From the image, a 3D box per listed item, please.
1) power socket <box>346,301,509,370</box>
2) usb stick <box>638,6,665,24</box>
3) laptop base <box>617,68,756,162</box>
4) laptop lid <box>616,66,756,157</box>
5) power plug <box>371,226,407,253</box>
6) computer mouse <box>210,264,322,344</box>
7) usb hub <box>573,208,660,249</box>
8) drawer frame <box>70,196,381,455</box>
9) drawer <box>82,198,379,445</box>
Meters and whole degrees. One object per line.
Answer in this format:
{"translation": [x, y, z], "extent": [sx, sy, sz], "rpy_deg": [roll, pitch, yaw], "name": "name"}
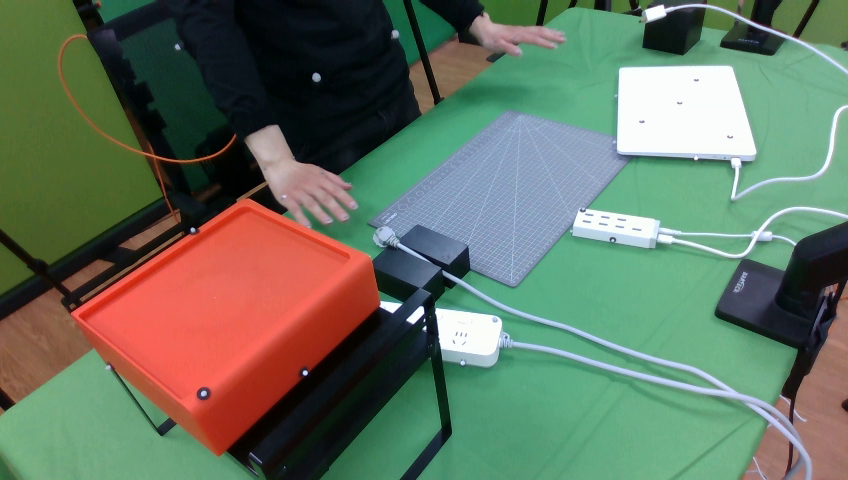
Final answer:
{"translation": [-0.001, 0.126, 0.817], "extent": [0.226, 0.033, 0.072], "rpy_deg": [7, 43, 15], "name": "power socket"}
{"translation": [0.503, -0.499, 1.347], "extent": [0.059, 0.027, 0.021], "rpy_deg": [-21, 5, -1], "name": "usb stick"}
{"translation": [0.507, -0.256, 1.204], "extent": [0.235, 0.023, 0.353], "rpy_deg": [3, 41, 15], "name": "laptop base"}
{"translation": [0.503, -0.265, 1.196], "extent": [0.241, 0.013, 0.356], "rpy_deg": [5, 41, 16], "name": "laptop lid"}
{"translation": [-0.054, 0.009, 0.930], "extent": [0.035, 0.053, 0.072], "rpy_deg": [-34, 64, -5], "name": "power plug"}
{"translation": [-0.164, 0.062, 0.625], "extent": [0.116, 0.041, 0.063], "rpy_deg": [22, 45, 27], "name": "computer mouse"}
{"translation": [0.302, -0.019, 0.949], "extent": [0.124, 0.025, 0.049], "rpy_deg": [11, 43, 20], "name": "usb hub"}
{"translation": [-0.186, 0.068, 0.597], "extent": [0.200, 0.083, 0.214], "rpy_deg": [23, 49, 30], "name": "drawer frame"}
{"translation": [-0.185, 0.066, 0.600], "extent": [0.193, 0.073, 0.212], "rpy_deg": [24, 50, 31], "name": "drawer"}
